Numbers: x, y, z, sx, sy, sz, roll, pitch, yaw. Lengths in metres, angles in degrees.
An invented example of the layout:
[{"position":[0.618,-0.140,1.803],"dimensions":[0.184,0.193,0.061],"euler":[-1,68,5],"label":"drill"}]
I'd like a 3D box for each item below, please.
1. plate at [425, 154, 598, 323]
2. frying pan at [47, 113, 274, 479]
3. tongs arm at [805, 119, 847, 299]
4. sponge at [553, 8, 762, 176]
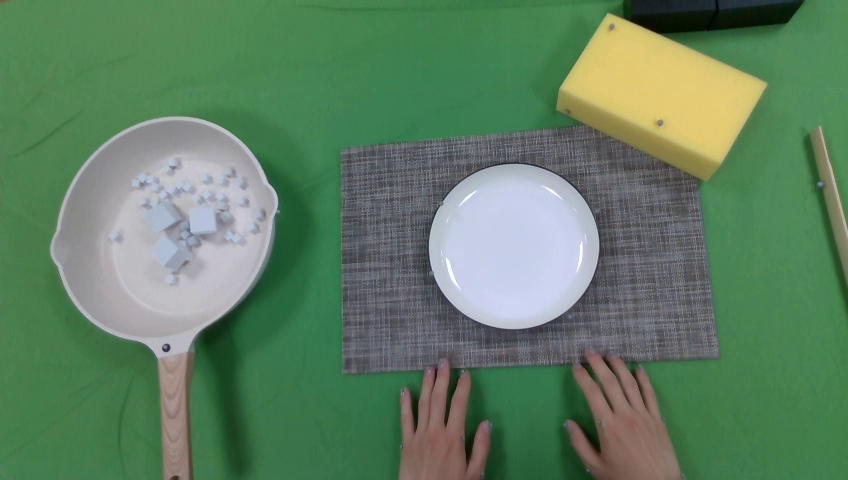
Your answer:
[{"position":[0.105,-0.001,0.742],"dimensions":[0.207,0.039,0.206],"euler":[-1,79,8],"label":"plate"},{"position":[-0.315,0.078,0.755],"dimensions":[0.306,0.103,0.484],"euler":[-12,70,6],"label":"frying pan"},{"position":[0.495,0.044,0.689],"dimensions":[0.028,0.028,0.385],"euler":[-10,79,4],"label":"tongs arm"},{"position":[0.279,-0.182,0.742],"dimensions":[0.206,0.061,0.118],"euler":[29,83,13],"label":"sponge"}]
